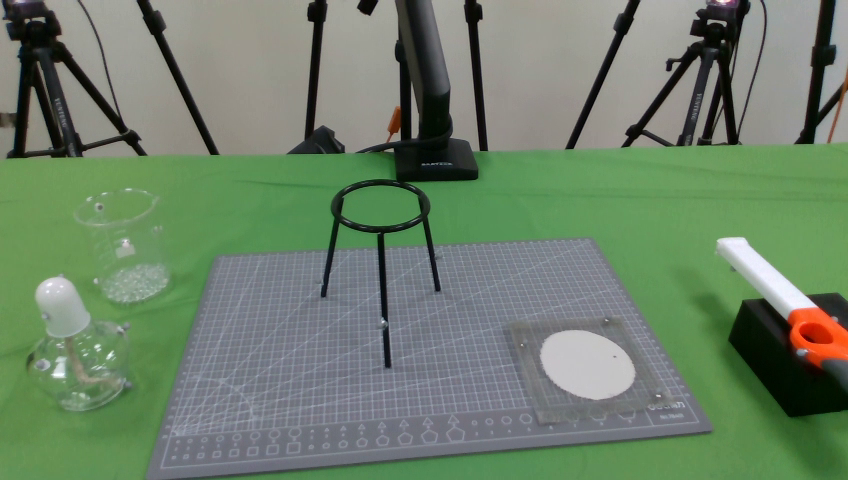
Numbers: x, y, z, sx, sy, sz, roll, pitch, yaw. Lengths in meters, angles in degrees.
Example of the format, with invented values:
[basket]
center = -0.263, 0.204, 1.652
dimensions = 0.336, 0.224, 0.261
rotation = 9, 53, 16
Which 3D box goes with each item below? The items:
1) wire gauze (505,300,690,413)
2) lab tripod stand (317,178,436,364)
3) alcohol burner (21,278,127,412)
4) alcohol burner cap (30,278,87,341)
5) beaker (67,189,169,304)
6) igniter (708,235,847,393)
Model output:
[wire gauze]
center = 0.155, 0.102, 0.546
dimensions = 0.125, 0.011, 0.120
rotation = -10, 32, -27
[lab tripod stand]
center = -0.042, 0.021, 0.574
dimensions = 0.148, 0.132, 0.147
rotation = 3, 34, -1
[alcohol burner]
center = -0.288, 0.081, 0.494
dimensions = 0.078, 0.120, 0.077
rotation = 2, 31, -1
[alcohol burner cap]
center = -0.289, 0.051, 0.475
dimensions = 0.034, 0.048, 0.033
rotation = 2, 38, -1
[beaker]
center = -0.305, 0.007, 0.620
dimensions = 0.073, 0.101, 0.084
rotation = 28, 41, 34
[igniter]
center = 0.332, 0.071, 0.530
dimensions = 0.057, 0.025, 0.274
rotation = -4, 31, -5
